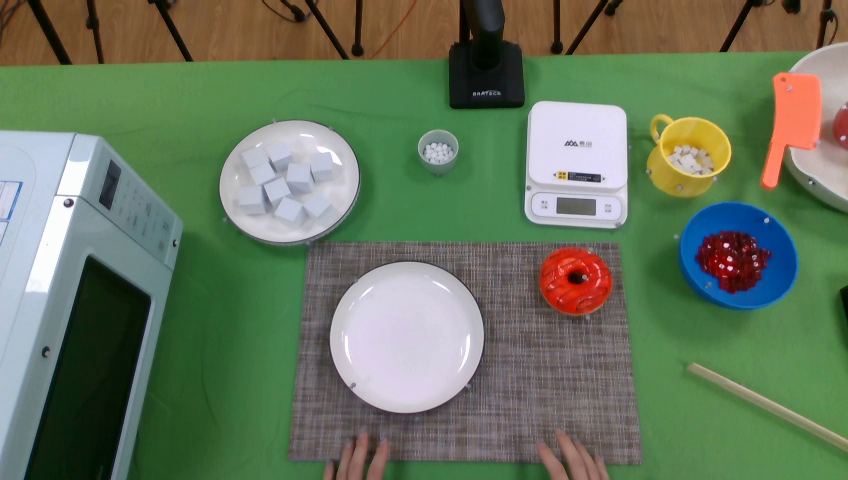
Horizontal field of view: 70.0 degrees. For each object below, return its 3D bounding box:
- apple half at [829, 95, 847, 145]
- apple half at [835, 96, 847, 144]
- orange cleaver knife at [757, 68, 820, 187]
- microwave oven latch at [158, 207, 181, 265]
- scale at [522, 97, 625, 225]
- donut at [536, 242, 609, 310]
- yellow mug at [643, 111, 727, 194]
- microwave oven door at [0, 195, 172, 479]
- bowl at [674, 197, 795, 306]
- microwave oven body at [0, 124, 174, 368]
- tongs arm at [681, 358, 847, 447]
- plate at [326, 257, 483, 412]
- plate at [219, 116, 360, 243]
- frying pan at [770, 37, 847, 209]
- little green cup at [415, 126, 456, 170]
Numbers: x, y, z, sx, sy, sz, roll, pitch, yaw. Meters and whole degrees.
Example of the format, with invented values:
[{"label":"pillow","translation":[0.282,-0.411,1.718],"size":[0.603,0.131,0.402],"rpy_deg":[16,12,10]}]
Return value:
[{"label":"apple half","translation":[0.620,-0.174,0.890],"size":[0.033,0.082,0.080],"rpy_deg":[-7,68,-5]},{"label":"apple half","translation":[0.658,-0.179,0.892],"size":[0.053,0.075,0.080],"rpy_deg":[-8,65,-5]},{"label":"orange cleaver knife","translation":[0.518,-0.162,0.859],"size":[0.077,0.012,0.210],"rpy_deg":[18,71,9]},{"label":"microwave oven latch","translation":[-0.367,-0.007,0.858],"size":[0.030,0.030,0.078],"rpy_deg":[4,69,3]},{"label":"scale","translation":[0.226,-0.121,0.909],"size":[0.148,0.032,0.199],"rpy_deg":[4,69,4]},{"label":"donut","translation":[0.203,0.049,0.832],"size":[0.099,0.048,0.098],"rpy_deg":[-1,69,4]},{"label":"yellow mug","translation":[0.373,-0.138,0.893],"size":[0.100,0.064,0.130],"rpy_deg":[-30,70,-9]},{"label":"microwave oven door","translation":[-0.386,0.158,0.684],"size":[0.039,0.245,0.353],"rpy_deg":[2,68,3]},{"label":"bowl","translation":[0.406,0.025,0.822],"size":[0.151,0.077,0.150],"rpy_deg":[-1,69,2]},{"label":"microwave oven body","translation":[-0.529,0.114,0.711],"size":[0.326,0.262,0.438],"rpy_deg":[3,69,2]},{"label":"tongs arm","translation":[0.507,0.250,0.757],"size":[0.386,0.028,0.028],"rpy_deg":[29,64,12]},{"label":"plate","translation":[-0.025,0.125,0.812],"size":[0.209,0.038,0.207],"rpy_deg":[-1,69,2]},{"label":"plate","translation":[-0.197,-0.088,0.905],"size":[0.207,0.039,0.206],"rpy_deg":[0,68,1]},{"label":"frying pan","translation":[0.696,-0.083,0.842],"size":[0.307,0.103,0.483],"rpy_deg":[-25,62,-7]},{"label":"little green cup","translation":[0.018,-0.137,0.918],"size":[0.061,0.039,0.061],"rpy_deg":[-1,68,2]}]
